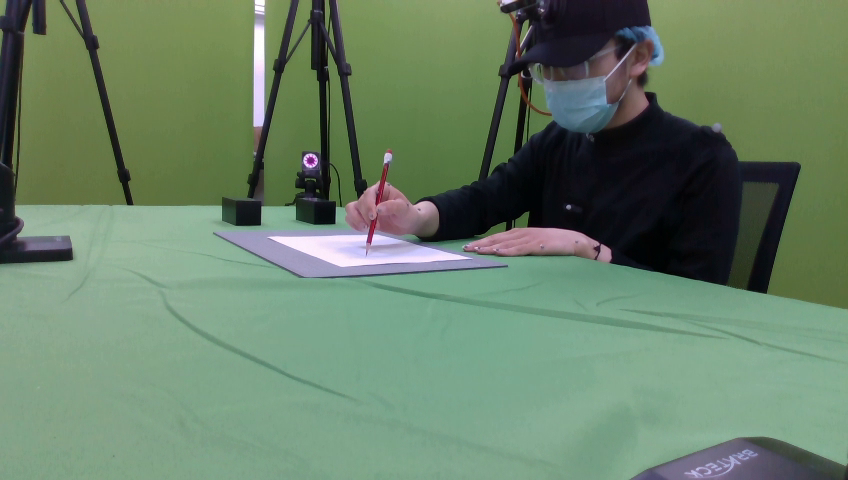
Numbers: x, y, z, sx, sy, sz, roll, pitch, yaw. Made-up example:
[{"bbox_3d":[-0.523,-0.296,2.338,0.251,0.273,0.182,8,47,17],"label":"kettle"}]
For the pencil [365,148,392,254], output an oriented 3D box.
[{"bbox_3d":[-0.069,-0.062,0.909,0.012,0.193,0.012,7,-31,5],"label":"pencil"}]
